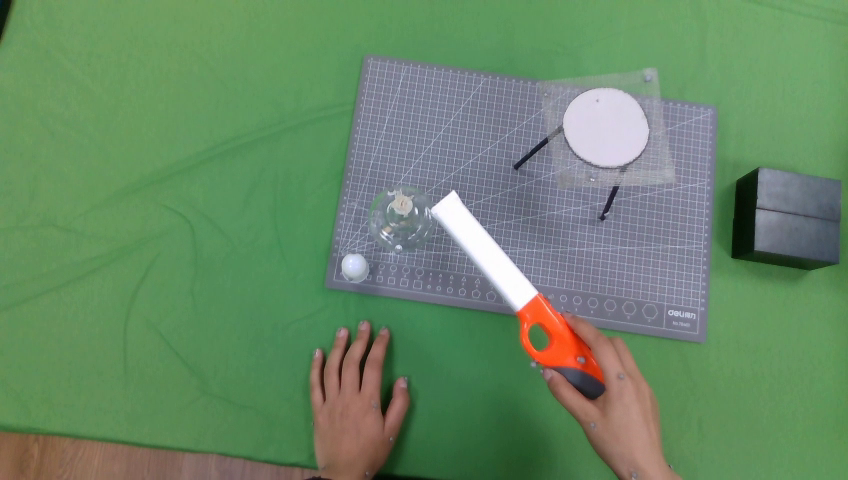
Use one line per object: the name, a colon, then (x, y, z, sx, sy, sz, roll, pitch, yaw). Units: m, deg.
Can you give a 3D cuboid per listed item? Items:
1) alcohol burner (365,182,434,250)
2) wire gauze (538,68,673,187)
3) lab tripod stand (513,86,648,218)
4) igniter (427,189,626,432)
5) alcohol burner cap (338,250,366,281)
alcohol burner: (-0.026, -0.030, 0.665, 0.078, 0.119, 0.077, 1, 80, -3)
wire gauze: (0.184, -0.113, 0.612, 0.125, 0.011, 0.121, -5, 79, -3)
lab tripod stand: (0.183, -0.107, 0.679, 0.148, 0.132, 0.147, 0, 77, -1)
igniter: (0.101, 0.067, 0.577, 0.057, 0.025, 0.276, -40, 91, -11)
alcohol burner cap: (-0.083, 0.027, 0.688, 0.034, 0.048, 0.033, 1, 79, -3)
